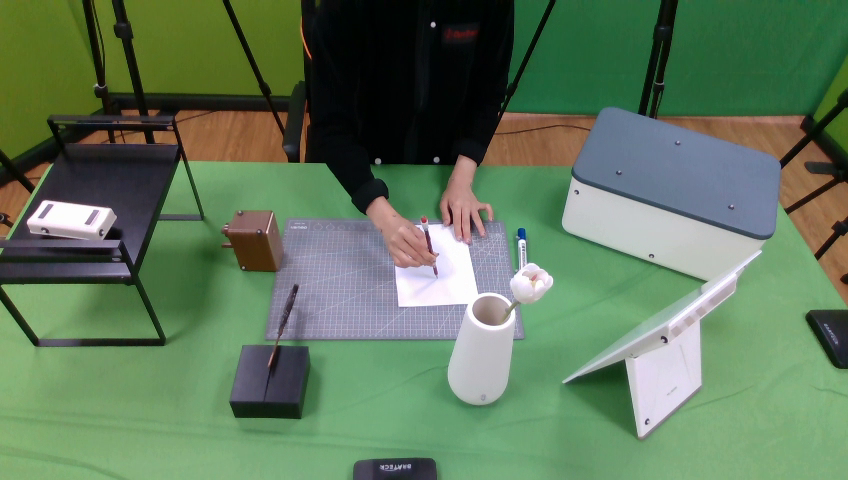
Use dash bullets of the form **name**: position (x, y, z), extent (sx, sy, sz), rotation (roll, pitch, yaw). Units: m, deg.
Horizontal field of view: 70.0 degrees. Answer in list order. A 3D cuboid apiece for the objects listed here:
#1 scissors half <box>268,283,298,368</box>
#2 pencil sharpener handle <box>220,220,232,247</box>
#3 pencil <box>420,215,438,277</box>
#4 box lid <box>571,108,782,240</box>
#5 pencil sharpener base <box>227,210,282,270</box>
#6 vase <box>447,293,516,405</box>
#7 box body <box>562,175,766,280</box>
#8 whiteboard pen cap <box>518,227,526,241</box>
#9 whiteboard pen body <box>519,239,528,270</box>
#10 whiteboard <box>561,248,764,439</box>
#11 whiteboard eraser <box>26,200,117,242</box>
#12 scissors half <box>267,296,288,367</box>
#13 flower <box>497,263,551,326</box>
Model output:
- **scissors half**: position (-0.230, 0.135, 0.986), extent (0.013, 0.040, 0.174), rotation (19, 43, -11)
- **pencil sharpener handle**: position (-0.362, -0.009, 1.105), extent (0.030, 0.068, 0.036), rotation (1, 53, 1)
- **pencil**: position (0.011, 0.016, 1.060), extent (0.012, 0.195, 0.012), rotation (-4, 56, 7)
- **box lid**: position (0.491, -0.139, 1.168), extent (0.370, 0.015, 0.262), rotation (21, 49, 15)
- **pencil sharpener base**: position (-0.311, 0.001, 1.112), extent (0.077, 0.107, 0.061), rotation (0, 47, 1)
- **vase**: position (0.091, 0.169, 0.921), extent (0.098, 0.201, 0.097), rotation (3, 47, -3)
- **box body**: position (0.486, -0.088, 1.222), extent (0.363, 0.161, 0.253), rotation (20, 48, 15)
- **whiteboard pen cap**: position (0.197, -0.009, 1.220), extent (0.018, 0.018, 0.033), rotation (5, 50, 1)
- **whiteboard pen body**: position (0.193, 0.035, 1.181), extent (0.017, 0.017, 0.140), rotation (6, 48, 1)
- **whiteboard**: position (0.386, 0.176, 0.905), extent (0.217, 0.306, 0.143), rotation (-26, 72, -27)
- **whiteboard eraser**: position (-0.532, -0.026, 0.919), extent (0.113, 0.042, 0.055), rotation (7, 45, 3)
- **scissors half**: position (-0.239, 0.150, 0.997), extent (0.013, 0.040, 0.174), rotation (24, 24, -13)
- **flower**: position (0.102, 0.121, 0.853), extent (0.044, 0.363, 0.038), rotation (-2, 64, -10)
